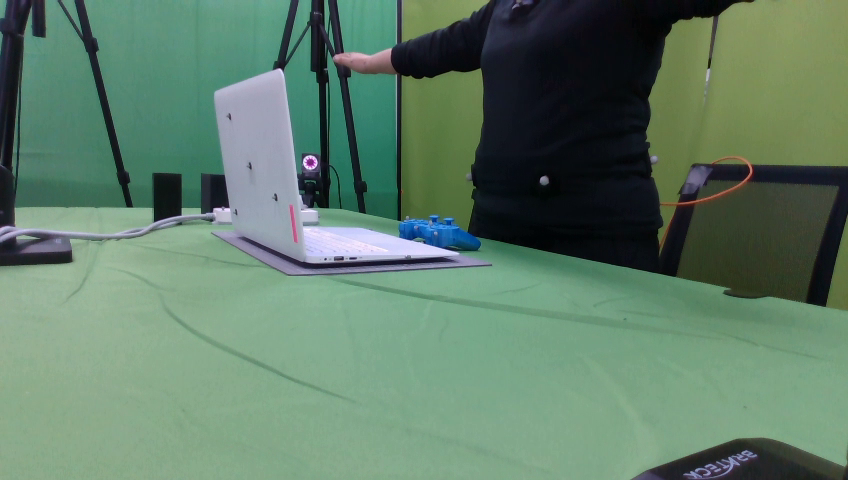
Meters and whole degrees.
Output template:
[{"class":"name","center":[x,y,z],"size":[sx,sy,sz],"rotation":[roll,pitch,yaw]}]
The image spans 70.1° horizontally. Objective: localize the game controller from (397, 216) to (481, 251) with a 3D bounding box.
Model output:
[{"class":"game controller","center":[0.020,-0.013,1.052],"size":[0.097,0.051,0.154],"rotation":[-4,9,-30]}]

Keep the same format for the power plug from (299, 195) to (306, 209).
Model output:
[{"class":"power plug","center":[-0.283,-0.075,1.342],"size":[0.035,0.052,0.072],"rotation":[0,3,-18]}]

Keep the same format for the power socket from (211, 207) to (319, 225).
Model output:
[{"class":"power socket","center":[-0.334,-0.051,1.281],"size":[0.228,0.032,0.072],"rotation":[-1,9,-29]}]

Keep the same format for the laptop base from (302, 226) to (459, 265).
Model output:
[{"class":"laptop base","center":[-0.136,0.006,0.951],"size":[0.237,0.023,0.352],"rotation":[2,6,-32]}]

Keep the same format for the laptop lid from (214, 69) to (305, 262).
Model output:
[{"class":"laptop lid","center":[-0.246,-0.107,0.866],"size":[0.013,0.241,0.355],"rotation":[-11,14,-30]}]

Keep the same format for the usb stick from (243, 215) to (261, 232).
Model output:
[{"class":"usb stick","center":[-0.302,-0.028,1.070],"size":[0.021,0.027,0.059],"rotation":[-1,12,-30]}]
